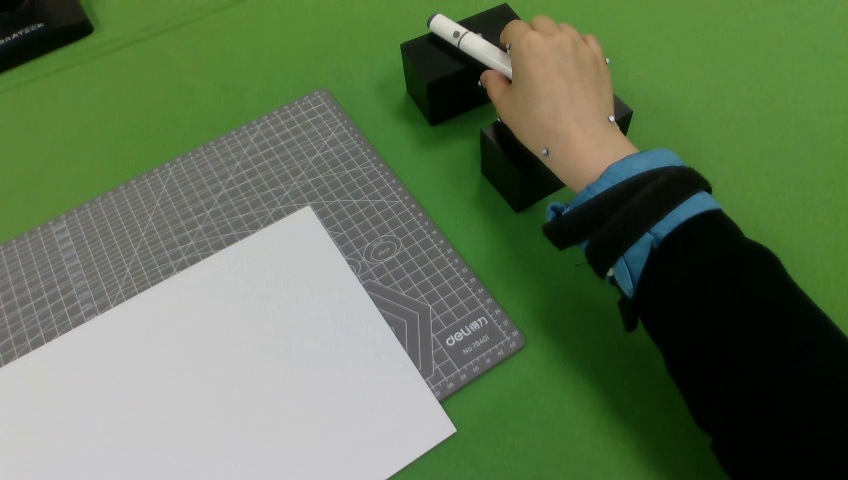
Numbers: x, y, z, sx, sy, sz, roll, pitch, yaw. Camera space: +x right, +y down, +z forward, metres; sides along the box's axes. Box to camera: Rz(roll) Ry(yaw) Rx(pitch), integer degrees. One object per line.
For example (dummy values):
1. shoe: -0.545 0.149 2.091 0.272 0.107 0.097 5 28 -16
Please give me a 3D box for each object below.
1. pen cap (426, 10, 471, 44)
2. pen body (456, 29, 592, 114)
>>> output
1. pen cap: 0.019 -0.171 0.487 0.017 0.017 0.038 -42 64 -19
2. pen body: 0.064 -0.134 0.461 0.143 0.017 0.017 38 69 24
